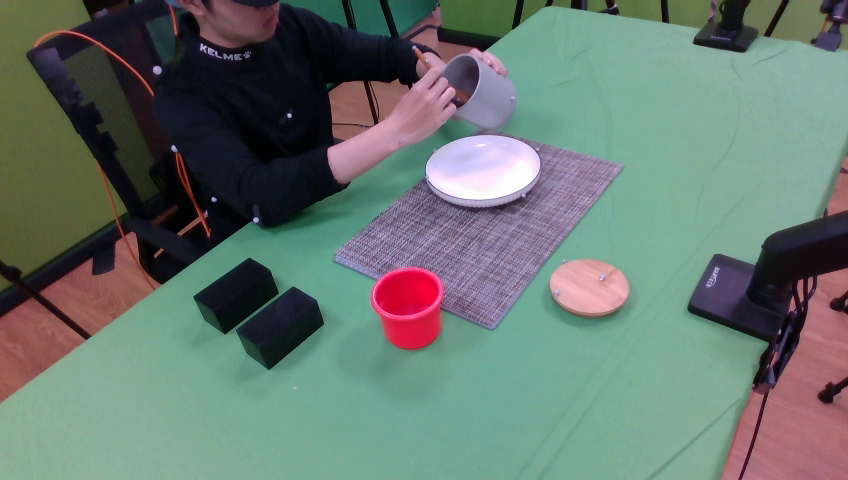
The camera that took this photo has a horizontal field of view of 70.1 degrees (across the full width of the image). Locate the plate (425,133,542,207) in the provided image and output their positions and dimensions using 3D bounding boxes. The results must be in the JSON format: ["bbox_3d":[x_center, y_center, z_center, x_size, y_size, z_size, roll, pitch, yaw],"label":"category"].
[{"bbox_3d":[0.106,-0.122,1.079,0.207,0.039,0.206,-4,41,4],"label":"plate"}]

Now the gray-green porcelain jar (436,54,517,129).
[{"bbox_3d":[0.101,-0.267,1.111,0.128,0.106,0.105,14,19,-46],"label":"gray-green porcelain jar"}]

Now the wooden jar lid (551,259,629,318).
[{"bbox_3d":[0.234,0.070,0.857,0.108,0.021,0.108,-5,40,5],"label":"wooden jar lid"}]

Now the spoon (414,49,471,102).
[{"bbox_3d":[0.041,-0.275,1.064,0.021,0.195,0.041,-34,51,26],"label":"spoon"}]
